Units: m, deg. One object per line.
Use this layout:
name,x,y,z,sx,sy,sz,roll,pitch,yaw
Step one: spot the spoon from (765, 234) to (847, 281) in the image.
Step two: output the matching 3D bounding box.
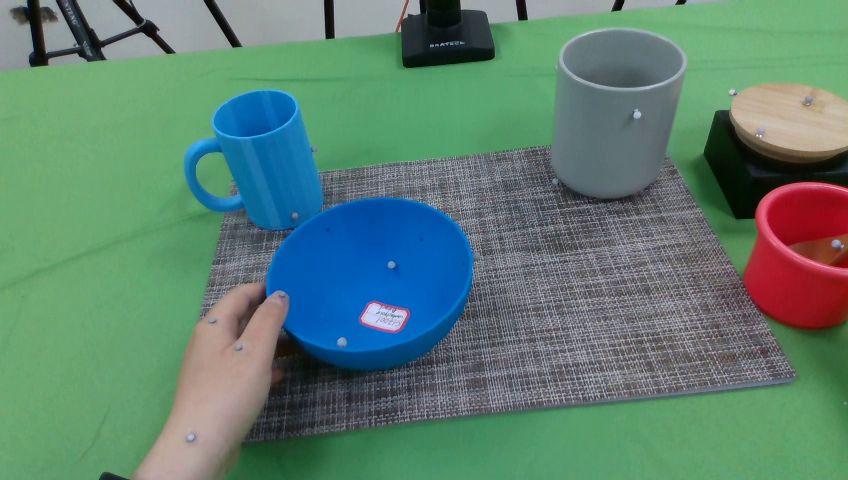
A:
spoon,0.329,-0.010,0.420,0.022,0.194,0.041,40,56,-5

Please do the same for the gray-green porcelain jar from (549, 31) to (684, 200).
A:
gray-green porcelain jar,0.170,-0.109,0.557,0.106,0.128,0.105,-3,46,4

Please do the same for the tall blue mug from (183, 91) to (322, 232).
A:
tall blue mug,-0.155,-0.063,0.560,0.077,0.109,0.107,31,56,30

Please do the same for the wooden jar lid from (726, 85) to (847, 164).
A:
wooden jar lid,0.329,-0.104,0.545,0.108,0.021,0.107,-4,45,4

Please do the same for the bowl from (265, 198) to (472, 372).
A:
bowl,-0.037,0.046,0.462,0.151,0.077,0.150,-3,45,3
